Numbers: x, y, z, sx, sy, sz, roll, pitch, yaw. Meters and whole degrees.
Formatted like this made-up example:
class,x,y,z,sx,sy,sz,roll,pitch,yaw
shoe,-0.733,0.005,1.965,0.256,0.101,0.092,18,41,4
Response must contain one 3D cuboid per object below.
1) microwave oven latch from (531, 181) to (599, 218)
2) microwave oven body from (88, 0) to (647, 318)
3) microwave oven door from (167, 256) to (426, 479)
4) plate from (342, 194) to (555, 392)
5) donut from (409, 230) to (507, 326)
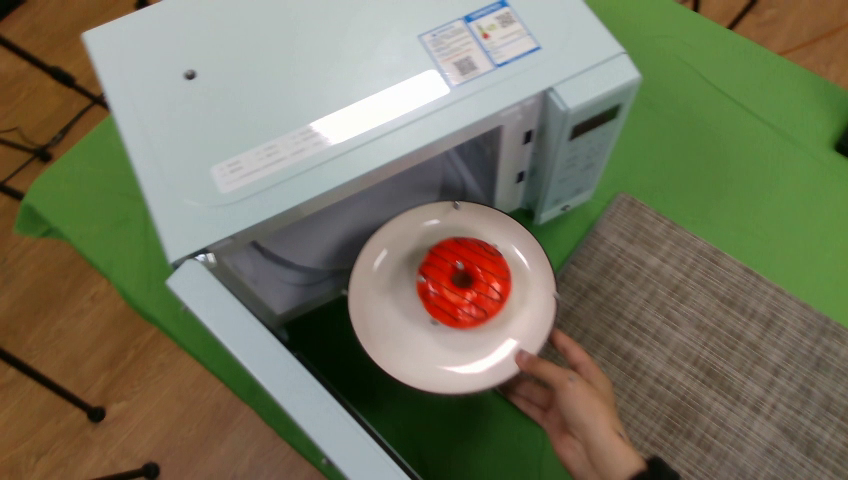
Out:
class,x,y,z,sx,sy,sz,roll,pitch,yaw
microwave oven latch,0.170,-0.057,0.733,0.079,0.030,0.030,-26,69,-7
microwave oven body,-0.059,-0.139,0.671,0.442,0.262,0.323,-26,69,-7
microwave oven door,-0.062,0.174,0.536,0.353,0.245,0.039,41,74,17
plate,0.025,0.052,0.609,0.209,0.038,0.207,0,65,1
donut,0.034,0.037,0.604,0.099,0.048,0.098,1,67,-1
